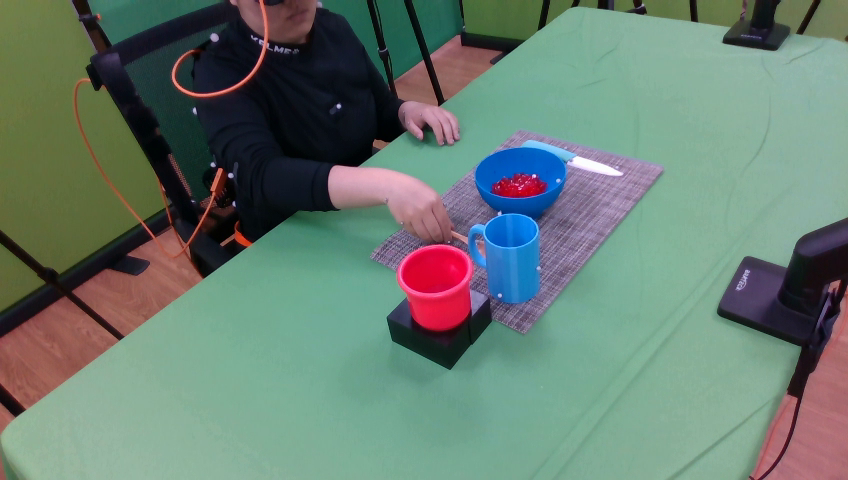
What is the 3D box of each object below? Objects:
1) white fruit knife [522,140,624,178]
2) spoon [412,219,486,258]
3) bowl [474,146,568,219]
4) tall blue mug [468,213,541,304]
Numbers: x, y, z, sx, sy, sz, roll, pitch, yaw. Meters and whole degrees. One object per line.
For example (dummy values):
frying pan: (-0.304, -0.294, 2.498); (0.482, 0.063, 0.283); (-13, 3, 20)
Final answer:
white fruit knife: (0.270, -0.149, 1.110); (0.206, 0.016, 0.027); (25, 80, 32)
spoon: (0.054, -0.005, 0.971); (0.192, 0.022, 0.041); (24, 67, 33)
bowl: (0.161, -0.083, 1.001); (0.151, 0.077, 0.150); (-5, 40, 5)
tall blue mug: (0.111, 0.026, 0.856); (0.107, 0.108, 0.077); (2, 42, 13)
